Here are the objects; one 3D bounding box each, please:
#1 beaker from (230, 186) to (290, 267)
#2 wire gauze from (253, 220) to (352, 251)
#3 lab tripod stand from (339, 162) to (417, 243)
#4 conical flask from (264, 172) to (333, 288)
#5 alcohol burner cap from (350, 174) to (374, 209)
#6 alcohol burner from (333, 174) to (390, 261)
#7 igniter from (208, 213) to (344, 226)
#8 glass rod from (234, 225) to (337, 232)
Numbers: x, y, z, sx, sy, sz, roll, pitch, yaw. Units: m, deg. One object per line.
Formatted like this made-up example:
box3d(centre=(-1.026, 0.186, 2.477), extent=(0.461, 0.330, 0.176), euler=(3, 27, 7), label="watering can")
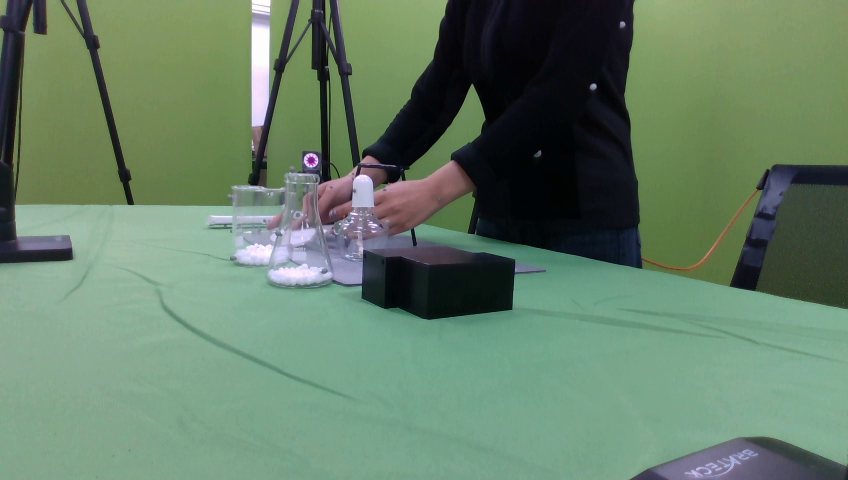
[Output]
box3d(centre=(-0.209, -0.019, 0.778), extent=(0.074, 0.100, 0.084), euler=(3, 6, 4), label="beaker")
box3d(centre=(-0.191, -0.013, 0.940), extent=(0.122, 0.011, 0.124), euler=(-16, 19, -34), label="wire gauze")
box3d(centre=(-0.067, -0.065, 1.027), extent=(0.148, 0.131, 0.148), euler=(4, 7, 0), label="lab tripod stand")
box3d(centre=(-0.136, -0.013, 0.660), extent=(0.075, 0.122, 0.075), euler=(2, 7, 0), label="conical flask")
box3d(centre=(-0.085, -0.067, 0.829), extent=(0.034, 0.048, 0.034), euler=(0, 2, 0), label="alcohol burner cap")
box3d(centre=(-0.085, -0.031, 0.832), extent=(0.078, 0.119, 0.078), euler=(3, 6, 0), label="alcohol burner")
box3d(centre=(-0.283, -0.041, 1.200), extent=(0.278, 0.025, 0.057), euler=(-2, -2, -34), label="igniter")
box3d(centre=(-0.256, -0.022, 1.136), extent=(0.201, 0.008, 0.008), euler=(-3, 8, -33), label="glass rod")
